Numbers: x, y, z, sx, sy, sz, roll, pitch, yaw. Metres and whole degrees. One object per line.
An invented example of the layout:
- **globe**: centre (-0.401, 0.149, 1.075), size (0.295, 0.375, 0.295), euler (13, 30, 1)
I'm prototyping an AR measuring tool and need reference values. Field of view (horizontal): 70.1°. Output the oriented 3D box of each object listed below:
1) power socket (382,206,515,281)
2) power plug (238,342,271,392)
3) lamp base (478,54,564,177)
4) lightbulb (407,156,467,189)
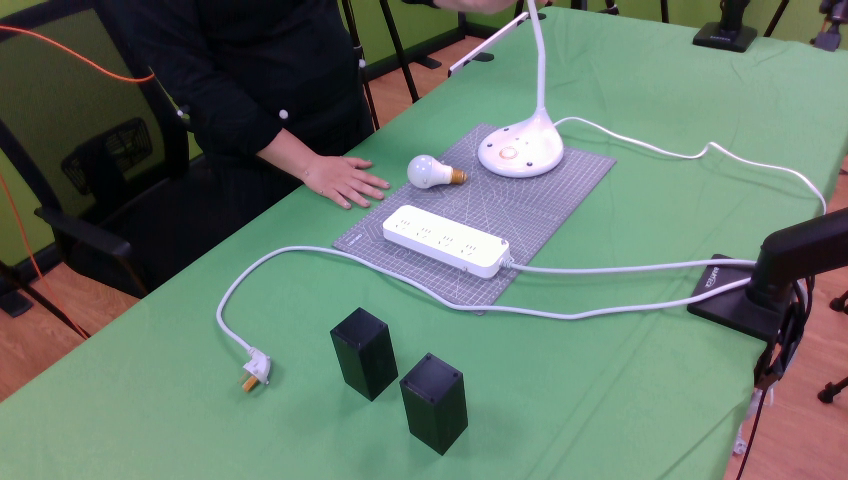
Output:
- **power socket**: centre (0.032, 0.002, 0.950), size (0.225, 0.033, 0.072), euler (21, 49, 29)
- **power plug**: centre (-0.230, 0.171, 0.801), size (0.072, 0.035, 0.053), euler (10, 52, 50)
- **lamp base**: centre (0.180, -0.232, 1.090), size (0.159, 0.181, 0.180), euler (21, 45, 30)
- **lightbulb**: centre (0.023, -0.117, 1.081), size (0.108, 0.059, 0.059), euler (7, 40, -7)
